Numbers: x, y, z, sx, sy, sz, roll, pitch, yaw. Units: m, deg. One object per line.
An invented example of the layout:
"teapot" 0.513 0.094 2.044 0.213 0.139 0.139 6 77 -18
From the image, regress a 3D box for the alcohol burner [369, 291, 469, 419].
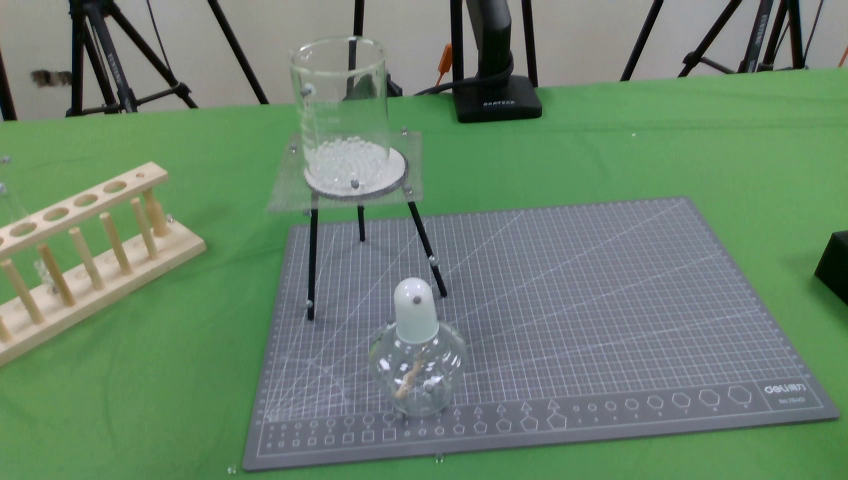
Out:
"alcohol burner" -0.004 0.079 0.456 0.078 0.120 0.077 -1 40 1

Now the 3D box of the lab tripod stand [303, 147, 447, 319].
"lab tripod stand" -0.050 -0.008 0.554 0.148 0.132 0.147 -1 37 1

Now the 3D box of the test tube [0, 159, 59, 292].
"test tube" -0.362 -0.014 0.546 0.017 0.151 0.017 -4 33 3

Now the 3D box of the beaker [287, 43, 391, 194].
"beaker" -0.065 -0.095 0.479 0.083 0.101 0.074 24 44 29

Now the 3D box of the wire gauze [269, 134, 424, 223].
"wire gauze" -0.061 -0.058 0.511 0.121 0.011 0.124 -3 40 0

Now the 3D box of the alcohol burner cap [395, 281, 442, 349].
"alcohol burner cap" -0.005 0.051 0.434 0.034 0.048 0.033 -4 38 4

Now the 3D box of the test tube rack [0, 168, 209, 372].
"test tube rack" -0.337 0.027 0.573 0.066 0.086 0.242 28 47 33
